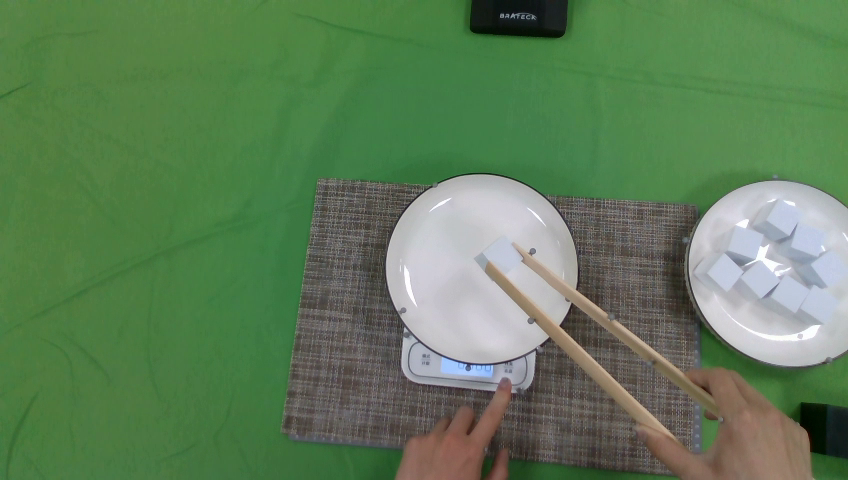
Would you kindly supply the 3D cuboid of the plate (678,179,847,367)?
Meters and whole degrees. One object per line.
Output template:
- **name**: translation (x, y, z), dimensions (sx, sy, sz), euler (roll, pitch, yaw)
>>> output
- **plate**: translation (0.384, 0.036, 0.671), dimensions (0.207, 0.039, 0.206), euler (-1, 78, 3)

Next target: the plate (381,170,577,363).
- **plate**: translation (0.059, 0.028, 0.656), dimensions (0.209, 0.038, 0.208), euler (0, 79, 3)

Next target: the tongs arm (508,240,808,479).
- **tongs arm**: translation (0.208, 0.132, 0.526), dimensions (0.382, 0.027, 0.050), euler (39, 65, 20)

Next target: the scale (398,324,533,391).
- **scale**: translation (0.052, 0.062, 0.683), dimensions (0.148, 0.032, 0.200), euler (5, 79, 4)

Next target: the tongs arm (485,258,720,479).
- **tongs arm**: translation (0.191, 0.145, 0.518), dimensions (0.028, 0.028, 0.384), euler (-36, 66, -24)
